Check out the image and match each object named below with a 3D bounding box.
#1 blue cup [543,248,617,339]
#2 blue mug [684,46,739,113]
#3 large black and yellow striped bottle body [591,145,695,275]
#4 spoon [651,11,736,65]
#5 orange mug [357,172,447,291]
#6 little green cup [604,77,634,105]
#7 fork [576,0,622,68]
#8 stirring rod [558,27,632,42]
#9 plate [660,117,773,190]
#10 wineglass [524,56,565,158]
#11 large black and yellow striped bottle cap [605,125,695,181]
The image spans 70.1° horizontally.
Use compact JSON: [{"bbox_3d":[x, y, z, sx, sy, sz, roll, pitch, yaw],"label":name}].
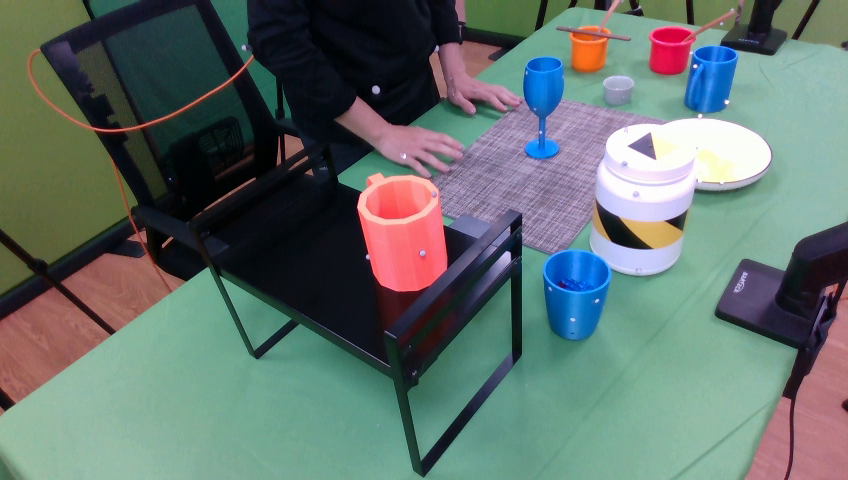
[{"bbox_3d":[0.199,0.076,0.797,0.092,0.100,0.092,-4,39,4],"label":"blue cup"},{"bbox_3d":[0.556,-0.310,1.190,0.117,0.106,0.081,-32,46,-25],"label":"blue mug"},{"bbox_3d":[0.313,-0.056,0.871,0.131,0.185,0.130,-4,40,4],"label":"large black and yellow striped bottle body"},{"bbox_3d":[0.574,-0.431,1.297,0.193,0.022,0.041,-34,19,47],"label":"spoon"},{"bbox_3d":[-0.030,-0.018,0.669,0.084,0.101,0.125,-23,47,-16],"label":"orange mug"},{"bbox_3d":[0.407,-0.311,1.266,0.061,0.039,0.061,-5,40,5],"label":"little green cup"},{"bbox_3d":[0.409,-0.484,1.381,0.028,0.019,0.207,37,101,45],"label":"fork"},{"bbox_3d":[0.381,-0.463,1.356,0.175,0.006,0.014,21,48,30],"label":"stirring rod"},{"bbox_3d":[0.495,-0.148,1.063,0.209,0.038,0.208,-5,40,4],"label":"plate"},{"bbox_3d":[0.218,-0.240,1.101,0.074,0.173,0.073,-5,41,4],"label":"wineglass"},{"bbox_3d":[0.304,-0.120,0.817,0.115,0.019,0.114,-3,41,3],"label":"large black and yellow striped bottle cap"}]
